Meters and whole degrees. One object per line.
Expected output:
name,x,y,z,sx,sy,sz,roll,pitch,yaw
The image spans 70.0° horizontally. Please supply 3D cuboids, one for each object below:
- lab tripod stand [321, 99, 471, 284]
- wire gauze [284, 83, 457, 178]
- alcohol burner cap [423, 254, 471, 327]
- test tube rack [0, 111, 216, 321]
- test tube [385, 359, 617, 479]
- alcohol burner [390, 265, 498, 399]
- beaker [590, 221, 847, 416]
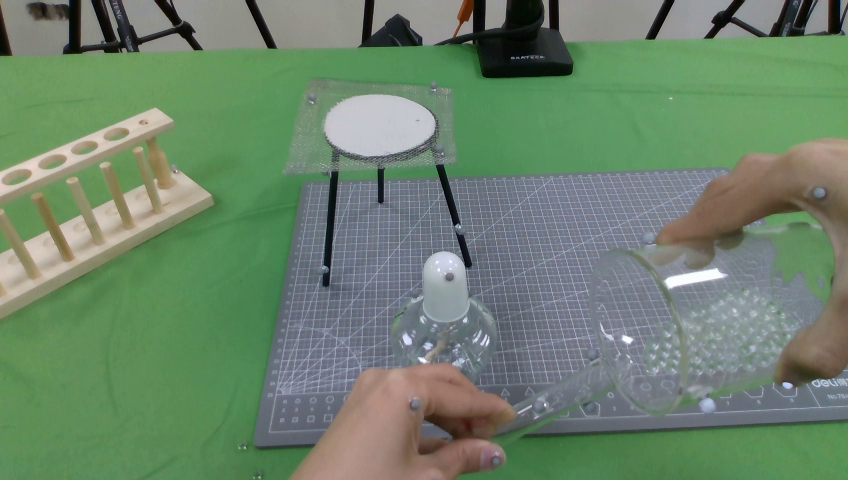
lab tripod stand,-0.028,-0.040,0.511,0.148,0.132,0.147,1,42,0
wire gauze,-0.037,-0.088,0.464,0.121,0.011,0.124,0,43,0
alcohol burner cap,0.015,0.030,0.397,0.034,0.048,0.033,-3,42,3
test tube rack,-0.316,-0.020,0.532,0.066,0.086,0.242,32,52,31
test tube,0.035,0.105,0.325,0.150,0.017,0.017,-36,38,21
alcohol burner,0.014,0.057,0.421,0.078,0.120,0.077,0,44,0
beaker,0.138,0.034,0.278,0.100,0.084,0.073,-10,56,-11
